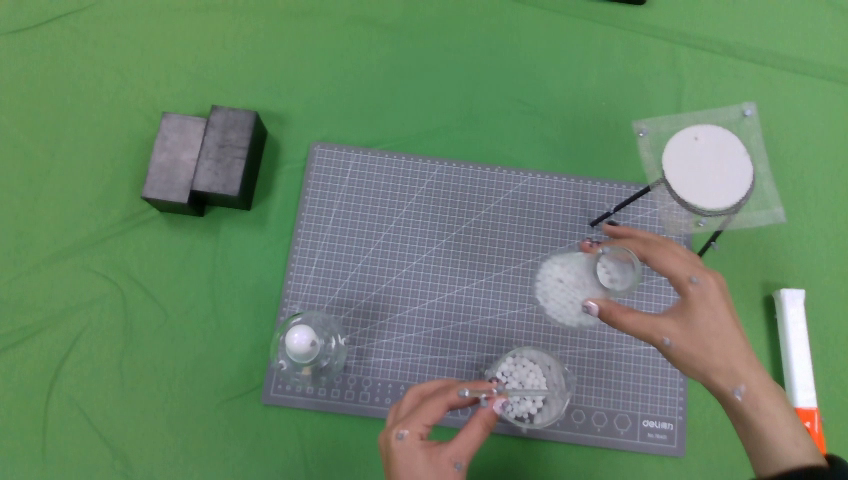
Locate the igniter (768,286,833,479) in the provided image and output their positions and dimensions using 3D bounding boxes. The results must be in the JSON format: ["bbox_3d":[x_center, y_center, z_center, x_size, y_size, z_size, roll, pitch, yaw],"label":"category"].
[{"bbox_3d":[0.399,0.186,0.642,0.057,0.025,0.275,3,76,-12],"label":"igniter"}]

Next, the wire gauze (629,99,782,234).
[{"bbox_3d":[0.268,-0.070,0.576,0.125,0.011,0.121,-8,78,-4],"label":"wire gauze"}]

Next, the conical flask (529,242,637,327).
[{"bbox_3d":[0.135,0.032,0.498,0.075,0.122,0.075,1,79,-3],"label":"conical flask"}]

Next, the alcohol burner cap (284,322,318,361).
[{"bbox_3d":[-0.116,0.092,0.565,0.034,0.048,0.033,3,69,-8],"label":"alcohol burner cap"}]

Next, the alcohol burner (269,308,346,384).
[{"bbox_3d":[-0.117,0.103,0.599,0.078,0.119,0.077,1,75,-3],"label":"alcohol burner"}]

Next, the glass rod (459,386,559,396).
[{"bbox_3d":[0.078,0.128,0.508,0.008,0.201,0.008,-8,74,30],"label":"glass rod"}]

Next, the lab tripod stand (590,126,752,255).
[{"bbox_3d":[0.264,-0.050,0.640,0.148,0.132,0.147,1,77,-2],"label":"lab tripod stand"}]

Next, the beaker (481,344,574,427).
[{"bbox_3d":[0.098,0.144,0.604,0.084,0.100,0.073,-11,77,-4],"label":"beaker"}]
